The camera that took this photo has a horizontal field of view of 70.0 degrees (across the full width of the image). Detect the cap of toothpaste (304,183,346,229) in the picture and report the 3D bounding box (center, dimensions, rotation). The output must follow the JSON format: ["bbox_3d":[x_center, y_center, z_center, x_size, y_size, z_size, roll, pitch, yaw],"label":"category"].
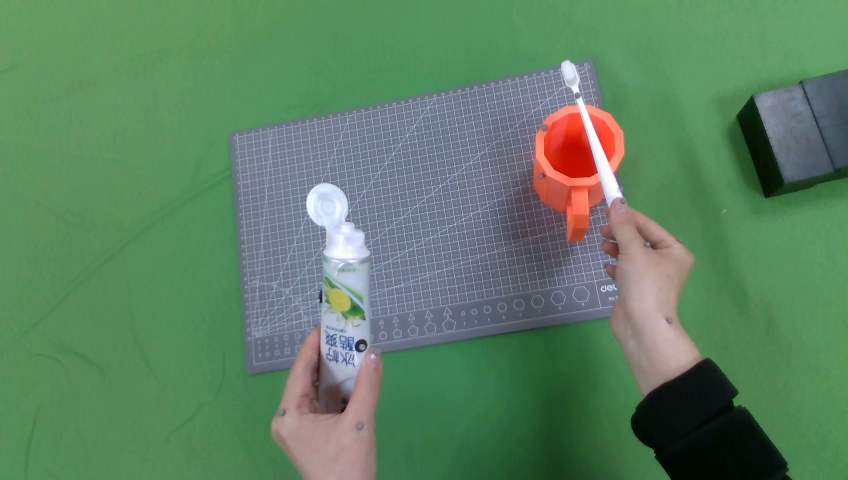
[{"bbox_3d":[-0.073,-0.026,0.456,0.037,0.011,0.037,6,81,-36],"label":"cap of toothpaste"}]

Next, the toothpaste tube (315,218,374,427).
[{"bbox_3d":[-0.063,0.064,0.463,0.054,0.034,0.165,9,106,28],"label":"toothpaste tube"}]

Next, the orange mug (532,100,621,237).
[{"bbox_3d":[0.156,-0.070,0.633,0.083,0.101,0.125,-2,73,9],"label":"orange mug"}]

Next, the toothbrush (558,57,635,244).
[{"bbox_3d":[0.153,-0.082,0.539,0.014,0.017,0.181,-20,78,16],"label":"toothbrush"}]
